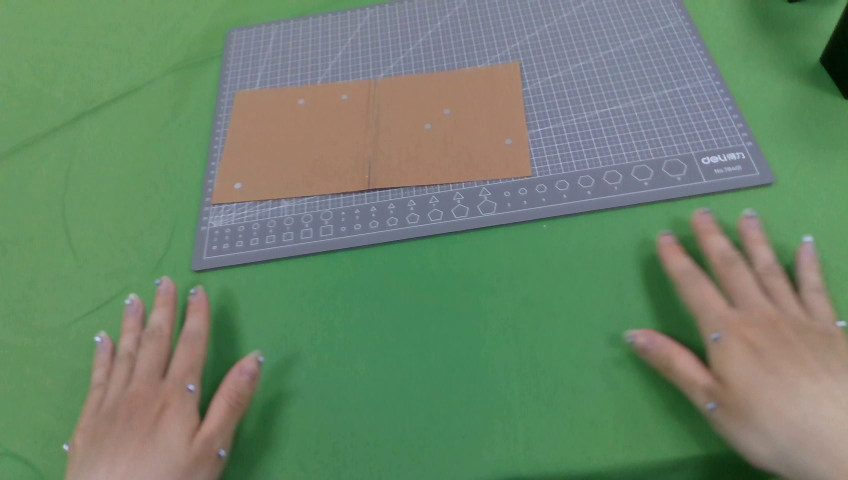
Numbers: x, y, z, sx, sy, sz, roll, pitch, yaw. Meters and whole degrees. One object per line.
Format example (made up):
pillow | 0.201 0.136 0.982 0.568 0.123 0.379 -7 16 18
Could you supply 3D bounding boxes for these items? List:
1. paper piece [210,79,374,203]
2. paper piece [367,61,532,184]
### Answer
paper piece | -0.113 -0.092 0.537 0.138 0.009 0.134 -4 53 7
paper piece | 0.020 -0.104 0.523 0.135 0.004 0.134 -3 55 6
